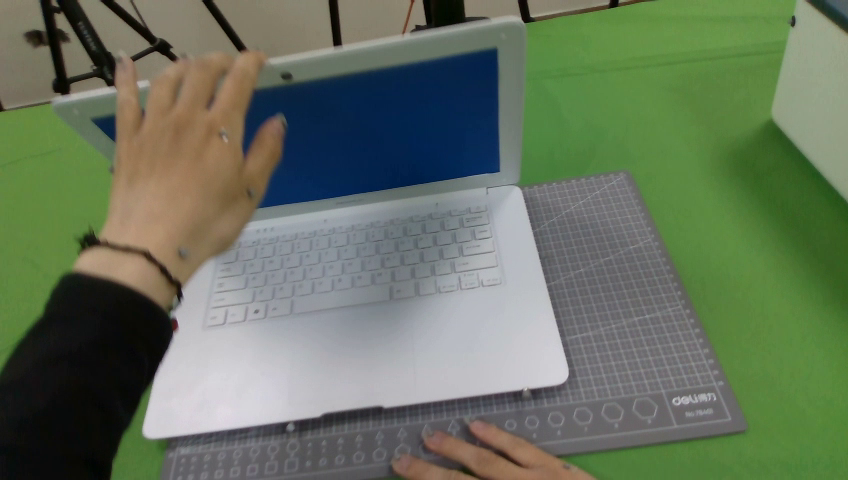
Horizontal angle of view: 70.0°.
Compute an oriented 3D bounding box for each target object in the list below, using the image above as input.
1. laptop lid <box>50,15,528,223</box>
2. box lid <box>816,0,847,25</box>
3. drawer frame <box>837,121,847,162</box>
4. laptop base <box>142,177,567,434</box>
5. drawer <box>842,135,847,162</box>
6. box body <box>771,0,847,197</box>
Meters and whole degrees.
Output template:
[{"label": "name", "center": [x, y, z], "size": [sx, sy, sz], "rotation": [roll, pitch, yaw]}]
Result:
[{"label": "laptop lid", "center": [-0.088, -0.088, 0.533], "size": [0.356, 0.243, 0.013], "rotation": [-9, 67, 5]}, {"label": "box lid", "center": [0.488, -0.147, 0.438], "size": [0.263, 0.015, 0.367], "rotation": [-12, 47, 1]}, {"label": "drawer frame", "center": [0.499, -0.049, 0.490], "size": [0.202, 0.083, 0.211], "rotation": [-8, 45, 1]}, {"label": "laptop base", "center": [-0.066, 0.050, 0.564], "size": [0.354, 0.023, 0.233], "rotation": [-8, 50, 3]}, {"label": "drawer", "center": [0.499, -0.046, 0.494], "size": [0.194, 0.074, 0.209], "rotation": [-10, 48, 5]}, {"label": "box body", "center": [0.499, -0.099, 0.494], "size": [0.254, 0.162, 0.360], "rotation": [-12, 47, 0]}]
